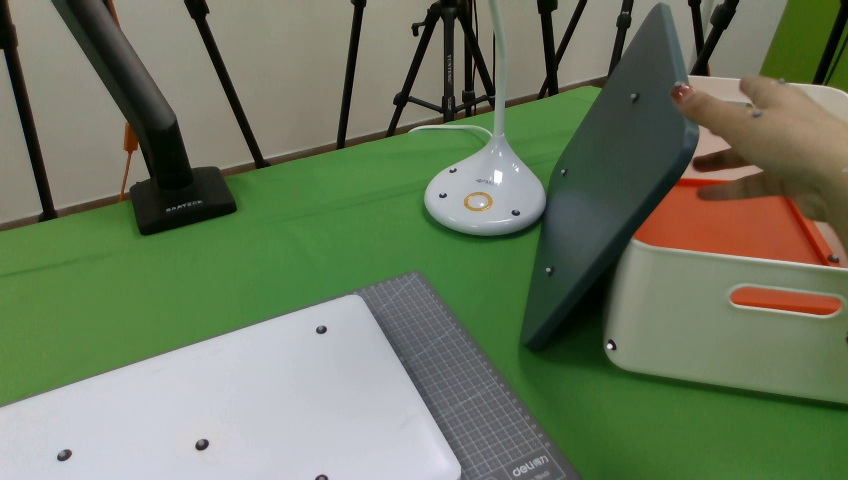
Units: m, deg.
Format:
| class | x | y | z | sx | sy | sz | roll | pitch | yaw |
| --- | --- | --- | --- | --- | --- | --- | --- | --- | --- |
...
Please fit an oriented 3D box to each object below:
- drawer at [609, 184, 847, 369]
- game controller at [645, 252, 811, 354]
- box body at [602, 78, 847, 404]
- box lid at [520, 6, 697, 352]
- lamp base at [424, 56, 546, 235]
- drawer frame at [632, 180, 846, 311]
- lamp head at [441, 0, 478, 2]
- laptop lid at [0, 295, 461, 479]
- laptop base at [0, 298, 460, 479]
| class | x | y | z | sx | sy | sz | roll | pitch | yaw |
| --- | --- | --- | --- | --- | --- | --- | --- | --- | --- |
| drawer | 0.301 | 0.026 | 0.622 | 0.194 | 0.074 | 0.210 | 4 | 36 | 8 |
| game controller | 0.298 | 0.059 | 0.595 | 0.155 | 0.052 | 0.096 | 1 | 66 | 5 |
| box body | 0.320 | -0.022 | 0.629 | 0.253 | 0.162 | 0.361 | 7 | 37 | 11 |
| box lid | 0.185 | -0.077 | 0.636 | 0.015 | 0.264 | 0.369 | 26 | 39 | -2 |
| lamp base | 0.080 | -0.125 | 0.757 | 0.160 | 0.182 | 0.178 | 7 | 35 | 11 |
| drawer frame | 0.298 | 0.024 | 0.623 | 0.201 | 0.083 | 0.212 | 3 | 36 | 7 |
| lamp head | 0.032 | -0.286 | 0.527 | 0.112 | 0.113 | 0.122 | 4 | 77 | 7 |
| laptop lid | -0.176 | 0.166 | 0.487 | 0.357 | 0.013 | 0.239 | -16 | 41 | -19 |
| laptop base | -0.177 | 0.175 | 0.496 | 0.355 | 0.023 | 0.232 | -17 | 43 | -20 |
